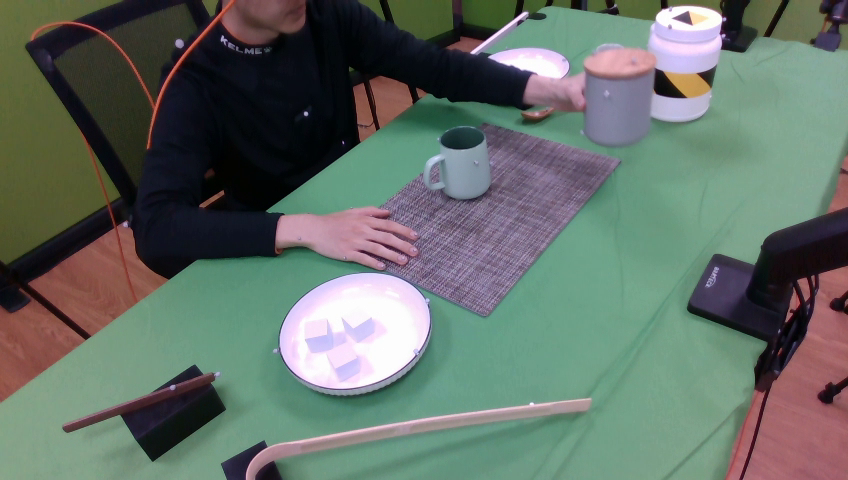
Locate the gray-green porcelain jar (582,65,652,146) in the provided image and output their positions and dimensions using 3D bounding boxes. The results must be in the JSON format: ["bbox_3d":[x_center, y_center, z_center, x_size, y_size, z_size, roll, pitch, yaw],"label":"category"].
[{"bbox_3d":[0.310,-0.225,0.979,0.106,0.127,0.105,-7,39,6],"label":"gray-green porcelain jar"}]

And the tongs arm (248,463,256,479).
[{"bbox_3d":[0.012,0.262,0.615,0.385,0.026,0.050,3,41,-2],"label":"tongs arm"}]

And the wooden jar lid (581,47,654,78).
[{"bbox_3d":[0.300,-0.273,0.939,0.108,0.021,0.108,-7,34,5],"label":"wooden jar lid"}]

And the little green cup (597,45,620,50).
[{"bbox_3d":[0.423,-0.413,1.375,0.061,0.039,0.061,-3,41,3],"label":"little green cup"}]

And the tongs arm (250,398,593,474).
[{"bbox_3d":[0.008,0.212,0.675,0.389,0.028,0.028,-5,46,-11],"label":"tongs arm"}]

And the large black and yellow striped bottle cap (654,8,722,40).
[{"bbox_3d":[0.483,-0.397,1.108,0.115,0.019,0.114,-3,41,3],"label":"large black and yellow striped bottle cap"}]

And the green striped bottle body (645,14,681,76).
[{"bbox_3d":[0.520,-0.424,1.312,0.063,0.120,0.063,-4,40,4],"label":"green striped bottle body"}]

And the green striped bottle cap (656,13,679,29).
[{"bbox_3d":[0.515,-0.463,1.278,0.044,0.020,0.044,-6,42,6],"label":"green striped bottle cap"}]

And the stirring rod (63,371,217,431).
[{"bbox_3d":[-0.337,0.192,0.723,0.177,0.014,0.005,-18,43,-12],"label":"stirring rod"}]

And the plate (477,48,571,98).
[{"bbox_3d":[0.223,-0.371,1.357,0.209,0.038,0.208,-4,41,4],"label":"plate"}]

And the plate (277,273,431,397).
[{"bbox_3d":[-0.091,0.129,0.821,0.207,0.039,0.206,-4,40,4],"label":"plate"}]

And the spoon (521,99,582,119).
[{"bbox_3d":[0.291,-0.277,1.249,0.194,0.022,0.041,-17,27,-11],"label":"spoon"}]

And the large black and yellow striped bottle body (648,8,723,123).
[{"bbox_3d":[0.493,-0.334,1.161,0.131,0.185,0.130,-4,41,4],"label":"large black and yellow striped bottle body"}]

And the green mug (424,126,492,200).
[{"bbox_3d":[0.055,-0.125,1.039,0.126,0.105,0.091,-26,44,-20],"label":"green mug"}]
